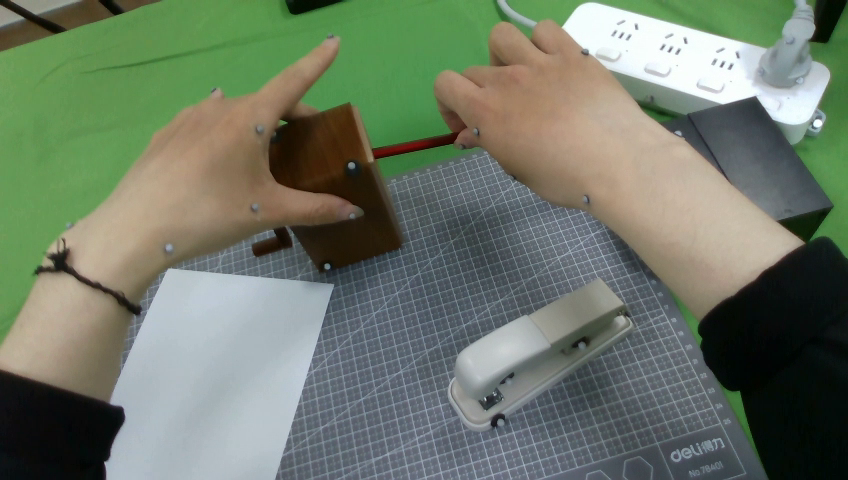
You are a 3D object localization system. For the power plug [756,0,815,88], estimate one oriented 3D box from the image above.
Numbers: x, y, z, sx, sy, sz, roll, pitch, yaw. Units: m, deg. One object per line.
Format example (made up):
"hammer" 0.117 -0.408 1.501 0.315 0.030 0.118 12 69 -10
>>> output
"power plug" 0.280 -0.142 0.456 0.035 0.053 0.072 37 73 28

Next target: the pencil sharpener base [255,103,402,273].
"pencil sharpener base" -0.067 -0.032 0.433 0.077 0.108 0.060 -19 58 -1

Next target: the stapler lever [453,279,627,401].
"stapler lever" 0.071 0.059 0.372 0.118 0.040 0.026 -30 59 -10

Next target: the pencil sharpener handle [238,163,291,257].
"pencil sharpener handle" -0.116 -0.018 0.418 0.030 0.068 0.035 -19 36 -1

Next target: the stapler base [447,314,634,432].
"stapler base" 0.074 0.073 0.392 0.130 0.024 0.041 -30 59 -10

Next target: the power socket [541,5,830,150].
"power socket" 0.208 -0.137 0.494 0.225 0.033 0.072 26 66 24

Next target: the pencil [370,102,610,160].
"pencil" 0.035 -0.073 0.416 0.194 0.012 0.012 -12 57 -6
